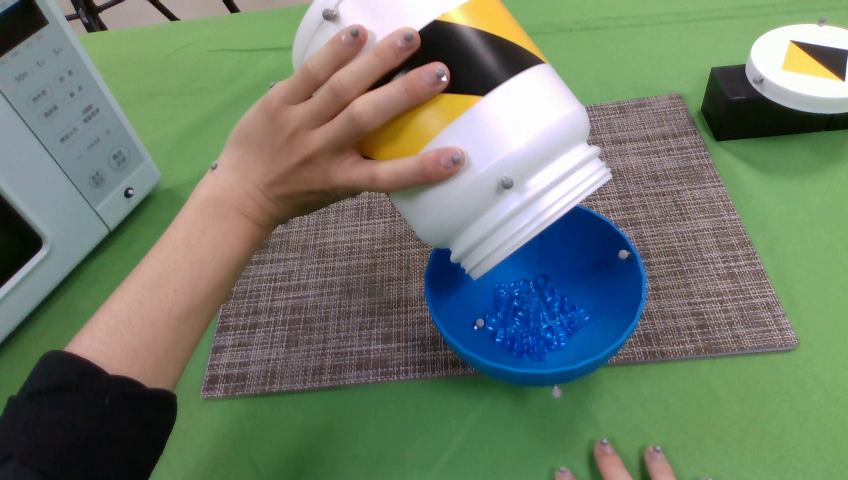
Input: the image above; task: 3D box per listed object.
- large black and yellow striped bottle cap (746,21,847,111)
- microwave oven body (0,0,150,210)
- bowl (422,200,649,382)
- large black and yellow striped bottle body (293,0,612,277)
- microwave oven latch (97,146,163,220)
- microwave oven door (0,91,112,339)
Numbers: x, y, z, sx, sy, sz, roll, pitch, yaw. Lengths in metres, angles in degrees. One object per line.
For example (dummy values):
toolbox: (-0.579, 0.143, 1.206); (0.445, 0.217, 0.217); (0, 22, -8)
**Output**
large black and yellow striped bottle cap: (0.355, -0.159, 0.547); (0.115, 0.019, 0.114); (-5, 49, 6)
microwave oven body: (-0.515, -0.031, 0.478); (0.324, 0.263, 0.439); (17, 56, 21)
bowl: (0.078, 0.045, 0.441); (0.151, 0.077, 0.150); (-4, 50, 6)
large black and yellow striped bottle body: (0.019, -0.080, 0.386); (0.131, 0.131, 0.183); (-35, 85, -19)
microwave oven latch: (-0.293, -0.058, 0.593); (0.030, 0.030, 0.079); (19, 57, 22)
microwave oven door: (-0.404, 0.035, 0.400); (0.039, 0.246, 0.354); (17, 55, 22)
